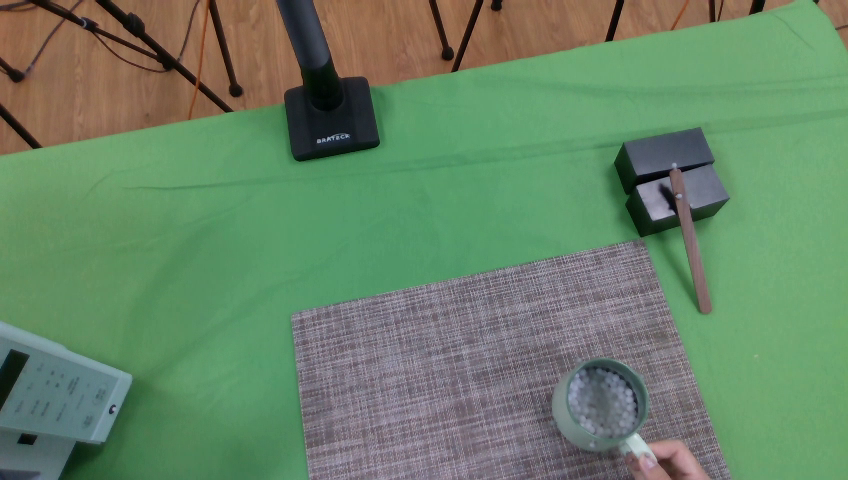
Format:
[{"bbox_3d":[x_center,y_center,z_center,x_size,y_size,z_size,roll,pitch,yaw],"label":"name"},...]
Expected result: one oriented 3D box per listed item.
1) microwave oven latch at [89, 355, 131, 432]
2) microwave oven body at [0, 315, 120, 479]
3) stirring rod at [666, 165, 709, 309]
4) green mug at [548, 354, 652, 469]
[{"bbox_3d":[-0.361,0.174,0.682,0.030,0.030,0.079,17,71,9],"label":"microwave oven latch"},{"bbox_3d":[-0.559,0.257,0.552,0.325,0.262,0.439,15,70,8],"label":"microwave oven body"},{"bbox_3d":[0.314,-0.003,0.721,0.014,0.006,0.176,-14,93,8],"label":"stirring rod"},{"bbox_3d":[0.188,0.179,0.627,0.092,0.106,0.124,-34,70,-6],"label":"green mug"}]
